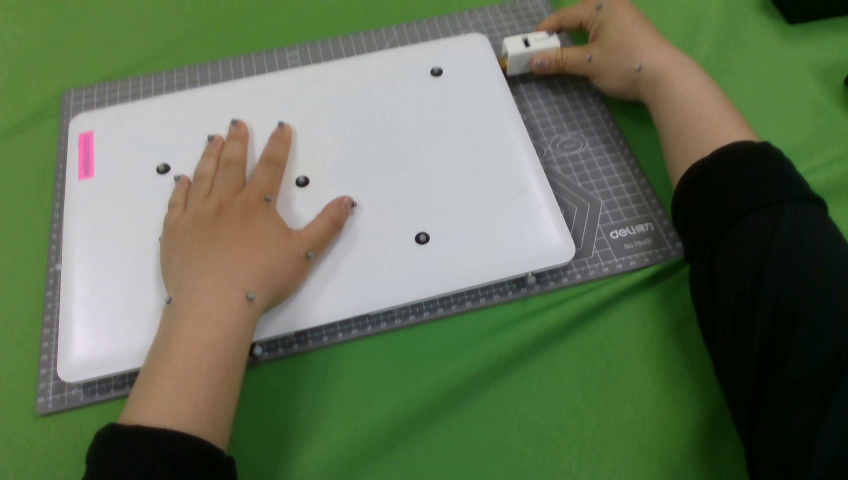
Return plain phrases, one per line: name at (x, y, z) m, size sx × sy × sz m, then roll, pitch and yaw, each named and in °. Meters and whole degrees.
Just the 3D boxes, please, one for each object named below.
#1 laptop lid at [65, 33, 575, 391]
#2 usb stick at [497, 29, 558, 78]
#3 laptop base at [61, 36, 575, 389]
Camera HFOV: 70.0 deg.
laptop lid at (-0.090, -0.040, 0.455) m, size 0.357 × 0.013 × 0.239 m, roll -12°, pitch 62°, yaw -4°
usb stick at (0.081, -0.155, 0.509) m, size 0.059 × 0.027 × 0.021 m, roll -16°, pitch 56°, yaw 1°
laptop base at (-0.090, -0.038, 0.464) m, size 0.355 × 0.023 × 0.233 m, roll -13°, pitch 63°, yaw -5°
